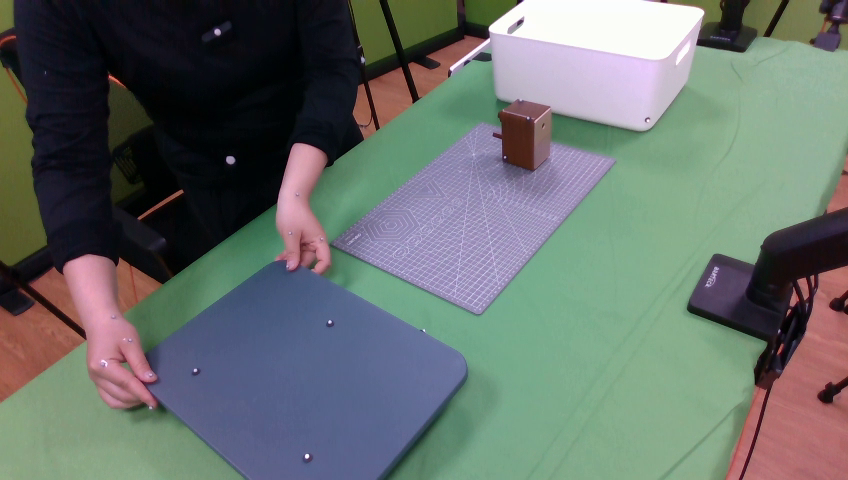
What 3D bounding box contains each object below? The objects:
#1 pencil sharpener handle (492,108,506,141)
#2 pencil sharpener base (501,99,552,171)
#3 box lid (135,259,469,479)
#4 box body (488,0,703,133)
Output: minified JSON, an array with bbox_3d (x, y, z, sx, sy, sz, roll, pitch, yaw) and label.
[{"bbox_3d":[0.141,-0.216,1.114,0.030,0.068,0.036,22,42,32],"label":"pencil sharpener handle"},{"bbox_3d":[0.184,-0.191,1.097,0.076,0.107,0.061,22,50,32],"label":"pencil sharpener base"},{"bbox_3d":[-0.155,0.160,0.747,0.368,0.015,0.264,24,49,32],"label":"box lid"},{"bbox_3d":[0.346,-0.374,1.251,0.361,0.161,0.255,20,48,29],"label":"box body"}]
